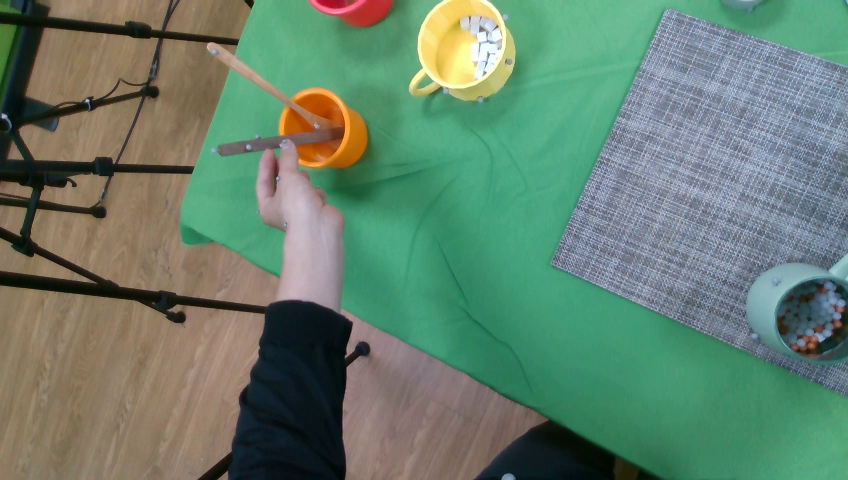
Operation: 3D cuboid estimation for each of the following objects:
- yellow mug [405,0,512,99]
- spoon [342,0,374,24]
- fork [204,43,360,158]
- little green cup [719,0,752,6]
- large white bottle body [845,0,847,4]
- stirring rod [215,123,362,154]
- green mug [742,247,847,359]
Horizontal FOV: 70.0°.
[{"bbox_3d":[0.032,-0.207,0.688,0.131,0.064,0.099,-35,82,16],"label":"yellow mug"},{"bbox_3d":[-0.078,-0.335,0.675,0.041,0.021,0.195,20,142,14],"label":"spoon"},{"bbox_3d":[-0.160,-0.160,0.704,0.209,0.018,0.028,33,100,-31],"label":"fork"},{"bbox_3d":[0.322,-0.270,0.613,0.061,0.039,0.061,1,93,17],"label":"little green cup"},{"bbox_3d":[0.443,-0.266,0.500,0.130,0.185,0.130,0,91,18],"label":"large white bottle body"},{"bbox_3d":[-0.155,-0.120,0.710,0.177,0.006,0.014,-14,89,-26],"label":"stirring rod"},{"bbox_3d":[0.370,0.052,0.570,0.092,0.105,0.125,42,102,13],"label":"green mug"}]
